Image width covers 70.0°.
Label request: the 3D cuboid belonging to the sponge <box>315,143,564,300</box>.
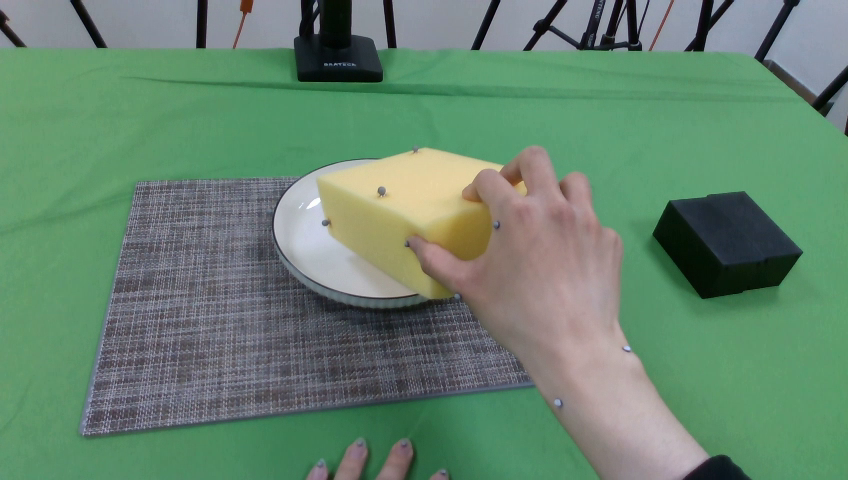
[{"bbox_3d":[0.003,-0.028,0.504,0.118,0.061,0.205,-19,23,-24],"label":"sponge"}]

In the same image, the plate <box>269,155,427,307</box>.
[{"bbox_3d":[-0.047,-0.009,0.605,0.208,0.039,0.205,5,43,-4],"label":"plate"}]
